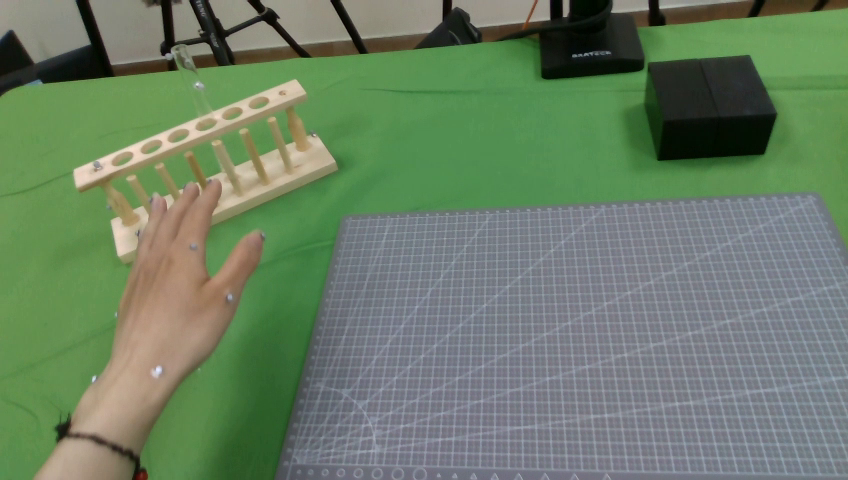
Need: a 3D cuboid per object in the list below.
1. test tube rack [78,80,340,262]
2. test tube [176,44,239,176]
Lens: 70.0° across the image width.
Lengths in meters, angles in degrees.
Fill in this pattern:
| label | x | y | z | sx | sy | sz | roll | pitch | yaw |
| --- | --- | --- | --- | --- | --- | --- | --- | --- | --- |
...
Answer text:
| label | x | y | z | sx | sy | sz | roll | pitch | yaw |
| --- | --- | --- | --- | --- | --- | --- | --- | --- | --- |
| test tube rack | -0.221 | -0.076 | 0.643 | 0.242 | 0.086 | 0.066 | -26 | 48 | -12 |
| test tube | -0.219 | -0.128 | 0.622 | 0.017 | 0.152 | 0.017 | -4 | 43 | 4 |
